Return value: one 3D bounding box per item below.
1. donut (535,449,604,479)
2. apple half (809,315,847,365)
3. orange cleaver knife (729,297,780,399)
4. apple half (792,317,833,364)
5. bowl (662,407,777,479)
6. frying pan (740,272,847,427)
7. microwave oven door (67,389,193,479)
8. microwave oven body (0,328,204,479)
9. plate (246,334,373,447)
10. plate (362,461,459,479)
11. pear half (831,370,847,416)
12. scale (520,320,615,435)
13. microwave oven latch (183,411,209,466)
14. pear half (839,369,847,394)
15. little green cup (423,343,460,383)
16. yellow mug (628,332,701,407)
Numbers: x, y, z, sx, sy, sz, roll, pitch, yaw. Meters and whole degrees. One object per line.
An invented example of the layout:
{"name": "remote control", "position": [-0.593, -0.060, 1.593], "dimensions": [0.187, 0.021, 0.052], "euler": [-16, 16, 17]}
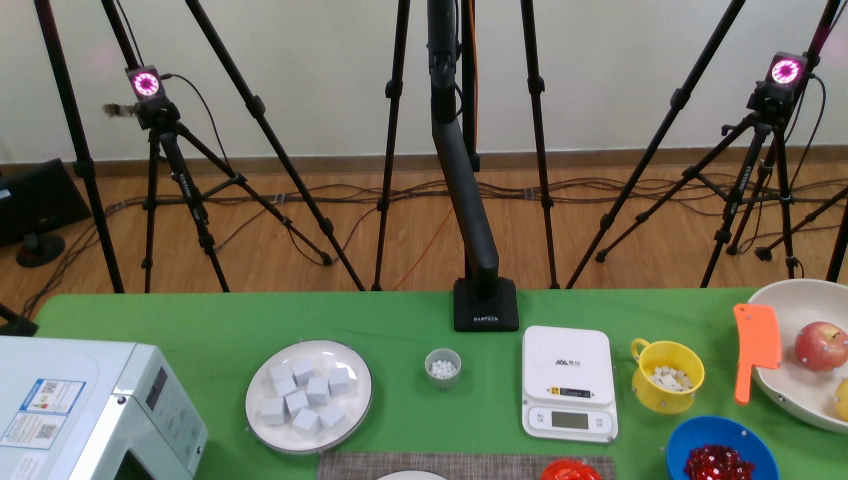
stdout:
{"name": "donut", "position": [0.210, 0.351, 0.875], "dimensions": [0.099, 0.049, 0.098], "euler": [-3, 46, 3]}
{"name": "apple half", "position": [0.670, 0.167, 1.006], "dimensions": [0.053, 0.075, 0.080], "euler": [-5, 42, -6]}
{"name": "orange cleaver knife", "position": [0.529, 0.169, 0.972], "dimensions": [0.077, 0.012, 0.210], "euler": [13, 49, 17]}
{"name": "apple half", "position": [0.632, 0.171, 1.003], "dimensions": [0.033, 0.082, 0.080], "euler": [-4, 45, -6]}
{"name": "bowl", "position": [0.412, 0.326, 0.870], "dimensions": [0.151, 0.077, 0.150], "euler": [-2, 46, 2]}
{"name": "frying pan", "position": [0.705, 0.236, 0.921], "dimensions": [0.307, 0.104, 0.482], "euler": [-20, 40, -14]}
{"name": "microwave oven door", "position": [-0.384, 0.391, 0.711], "dimensions": [0.039, 0.246, 0.352], "euler": [2, 46, 5]}
{"name": "microwave oven body", "position": [-0.526, 0.360, 0.757], "dimensions": [0.326, 0.262, 0.437], "euler": [2, 47, 5]}
{"name": "plate", "position": [-0.186, 0.250, 1.006], "dimensions": [0.207, 0.039, 0.205], "euler": [-1, 46, 2]}
{"name": "plate", "position": [-0.020, 0.411, 0.834], "dimensions": [0.209, 0.038, 0.207], "euler": [-2, 46, 2]}
{"name": "pear half", "position": [0.667, 0.232, 0.918], "dimensions": [0.075, 0.111, 0.056], "euler": [27, 53, 31]}
{"name": "scale", "position": [0.237, 0.224, 1.012], "dimensions": [0.148, 0.032, 0.199], "euler": [3, 46, 7]}
{"name": "microwave oven latch", "position": [-0.358, 0.306, 0.935], "dimensions": [0.030, 0.030, 0.078], "euler": [3, 47, 6]}
{"name": "pear half", "position": [0.692, 0.219, 0.942], "dimensions": [0.070, 0.089, 0.031], "euler": [27, 55, 29]}
{"name": "little green cup", "position": [0.030, 0.211, 1.031], "dimensions": [0.061, 0.039, 0.061], "euler": [-2, 45, 2]}
{"name": "yellow mug", "position": [0.385, 0.203, 0.999], "dimensions": [0.100, 0.064, 0.129], "euler": [-24, 48, -19]}
